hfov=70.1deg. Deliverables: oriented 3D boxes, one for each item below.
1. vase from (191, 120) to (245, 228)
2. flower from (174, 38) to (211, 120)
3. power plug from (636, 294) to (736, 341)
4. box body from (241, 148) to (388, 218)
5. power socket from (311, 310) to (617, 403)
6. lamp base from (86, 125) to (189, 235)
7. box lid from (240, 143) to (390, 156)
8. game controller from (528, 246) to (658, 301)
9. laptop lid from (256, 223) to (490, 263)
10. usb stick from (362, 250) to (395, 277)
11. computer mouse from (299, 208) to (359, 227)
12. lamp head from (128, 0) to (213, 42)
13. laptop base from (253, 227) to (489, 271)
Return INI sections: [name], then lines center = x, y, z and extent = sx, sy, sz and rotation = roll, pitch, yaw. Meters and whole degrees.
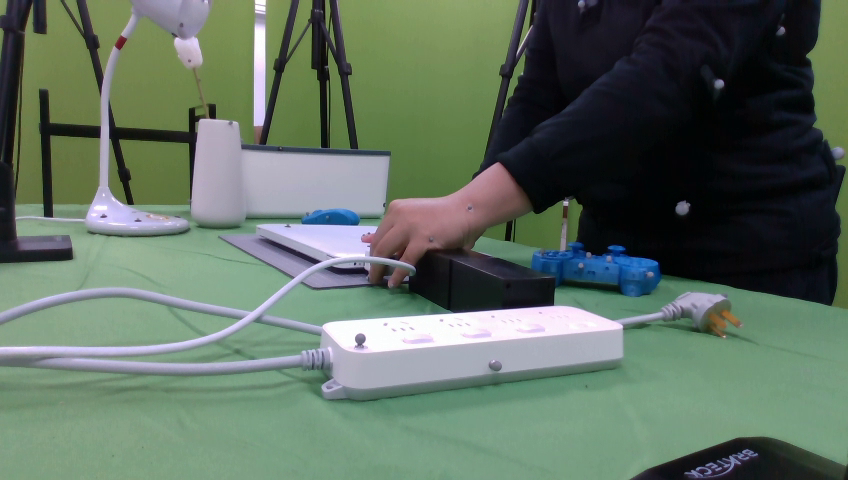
[vase]
center = -0.389, -0.123, 1.142
extent = 0.098, 0.200, 0.098
rotation = 3, 9, 0
[flower]
center = -0.401, -0.206, 1.141
extent = 0.038, 0.361, 0.044
rotation = -14, 3, 44
[power plug]
center = 0.234, 0.076, 0.536
extent = 0.072, 0.035, 0.052
rotation = -31, 39, -2
[box body]
center = -0.297, -0.143, 1.474
extent = 0.366, 0.160, 0.253
rotation = -1, 9, -30
[power socket]
center = 0.033, 0.074, 0.416
extent = 0.228, 0.032, 0.072
rotation = -1, 8, -24
[lamp base]
center = -0.497, -0.105, 1.026
extent = 0.179, 0.180, 0.160
rotation = 1, 7, 3
[box lid]
center = -0.295, -0.216, 1.463
extent = 0.373, 0.015, 0.262
rotation = -1, 8, -29
[game controller]
center = 0.202, 0.036, 0.732
extent = 0.155, 0.051, 0.097
rotation = 5, 10, 20
[laptop lid]
center = -0.093, 0.001, 0.911
extent = 0.243, 0.013, 0.355
rotation = 2, 7, -30
[usb stick]
center = -0.057, 0.026, 0.705
extent = 0.021, 0.027, 0.059
rotation = -5, 5, -33
[computer mouse]
center = -0.194, -0.045, 1.240
extent = 0.117, 0.041, 0.063
rotation = 0, 10, 11
[lamp head]
center = -0.423, -0.394, 0.980
extent = 0.123, 0.112, 0.112
rotation = 20, 7, -3
[laptop base]
center = -0.096, 0.012, 0.911
extent = 0.237, 0.023, 0.352
rotation = 2, 6, -32
